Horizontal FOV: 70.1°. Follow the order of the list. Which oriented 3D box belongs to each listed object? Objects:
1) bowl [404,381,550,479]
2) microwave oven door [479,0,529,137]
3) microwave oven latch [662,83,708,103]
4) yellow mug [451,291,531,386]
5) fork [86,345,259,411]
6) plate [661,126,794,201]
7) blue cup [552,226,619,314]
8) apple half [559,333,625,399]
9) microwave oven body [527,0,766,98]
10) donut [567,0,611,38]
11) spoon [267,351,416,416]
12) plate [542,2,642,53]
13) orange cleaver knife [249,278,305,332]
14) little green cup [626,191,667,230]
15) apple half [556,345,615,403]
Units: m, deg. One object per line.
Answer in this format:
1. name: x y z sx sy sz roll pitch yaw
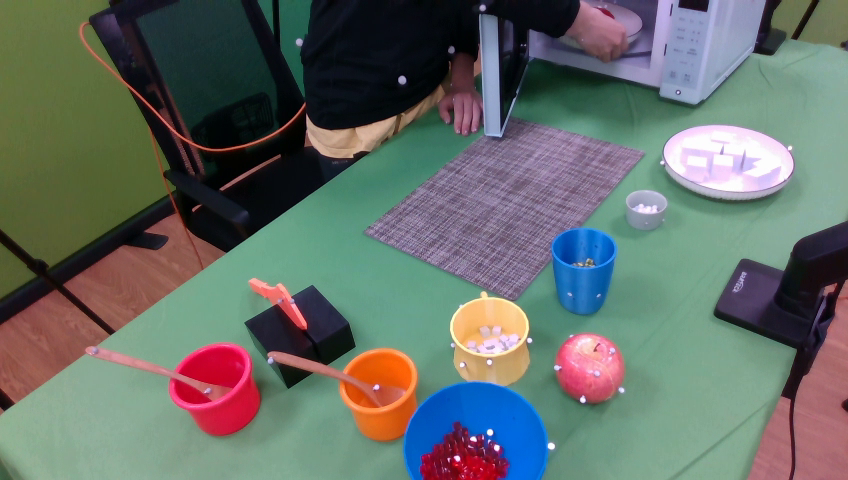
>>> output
1. bowl: 0.058 0.235 0.645 0.151 0.077 0.150 -4 39 4
2. microwave oven door: 0.169 -0.408 1.232 0.039 0.245 0.355 7 43 16
3. microwave oven latch: 0.519 -0.296 1.204 0.078 0.029 0.030 29 53 36
4. yellow mug: 0.086 0.120 0.786 0.100 0.064 0.130 -7 39 2
5. fork: -0.298 0.167 0.728 0.209 0.018 0.028 28 47 -23
6. plate: 0.513 -0.127 1.035 0.207 0.039 0.206 -4 40 4
7. blue cup: 0.218 0.047 0.825 0.092 0.101 0.092 -6 40 5
8. apple half: 0.209 0.147 0.730 0.080 0.075 0.053 26 48 38
9. microwave oven body: 0.472 -0.513 1.317 0.438 0.261 0.327 26 51 34
10. donut: 0.344 -0.466 1.271 0.099 0.048 0.098 16 48 -18
11. spoon: -0.091 0.163 0.699 0.021 0.195 0.041 -45 30 27
12. plate: 0.354 -0.449 1.288 0.209 0.038 0.208 1 43 0
13. orange cleaver knife: -0.210 0.089 0.855 0.012 0.077 0.210 -28 15 -24
14. little green cup: 0.352 -0.046 0.963 0.061 0.039 0.061 -4 40 4
15. apple half: 0.181 0.167 0.709 0.080 0.081 0.033 30 50 35
